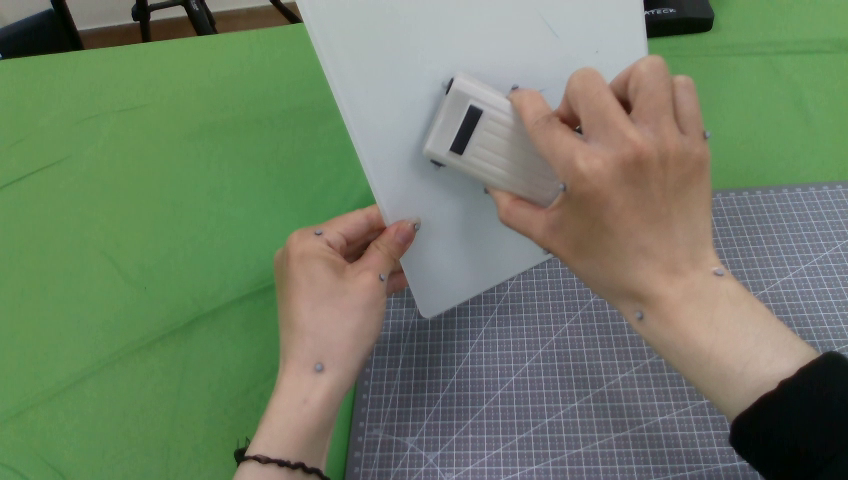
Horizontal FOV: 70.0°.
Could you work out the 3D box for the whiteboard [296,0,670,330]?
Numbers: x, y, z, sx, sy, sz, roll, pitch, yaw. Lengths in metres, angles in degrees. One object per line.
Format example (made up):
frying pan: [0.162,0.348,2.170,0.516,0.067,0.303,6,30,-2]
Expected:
whiteboard: [0.032,-0.131,0.442,0.217,0.308,0.142,-25,31,-8]

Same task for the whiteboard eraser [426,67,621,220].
whiteboard eraser: [0.061,-0.060,0.380,0.113,0.056,0.041,23,25,-7]
